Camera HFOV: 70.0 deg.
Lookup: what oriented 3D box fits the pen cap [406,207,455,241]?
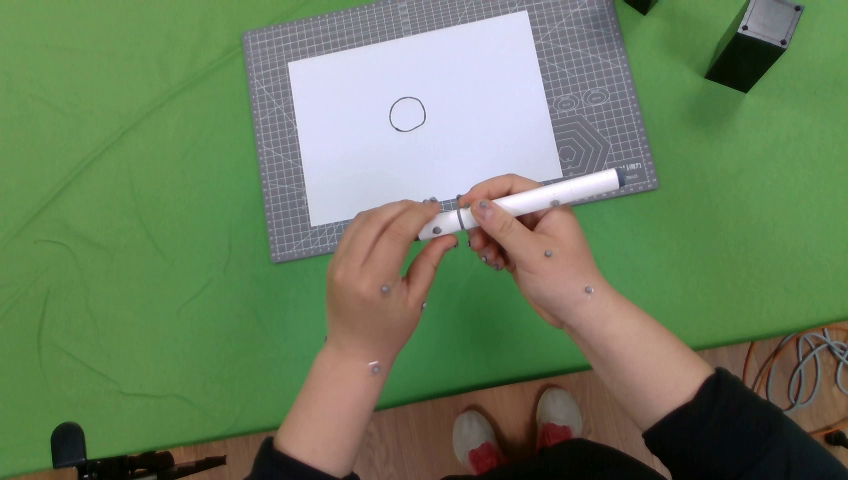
[{"bbox_3d":[0.006,-0.011,0.437,0.038,0.017,0.017,-18,78,0],"label":"pen cap"}]

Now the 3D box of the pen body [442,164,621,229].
[{"bbox_3d":[0.066,-0.027,0.427,0.144,0.017,0.017,-15,79,7],"label":"pen body"}]
